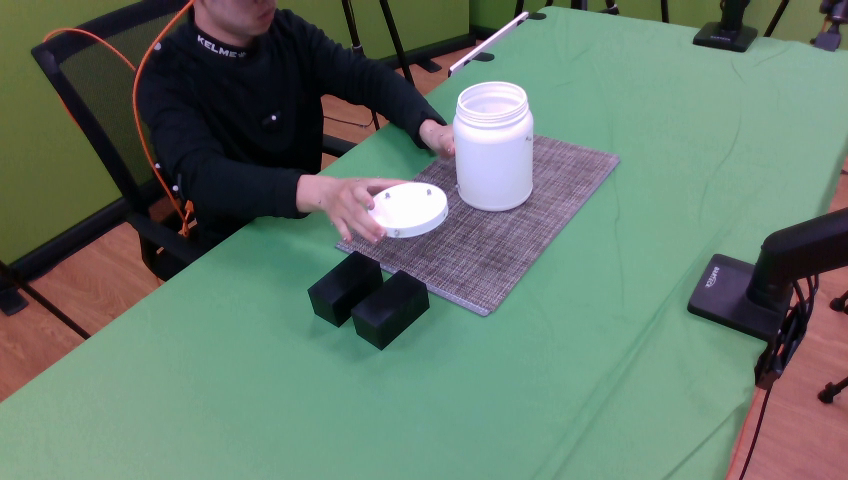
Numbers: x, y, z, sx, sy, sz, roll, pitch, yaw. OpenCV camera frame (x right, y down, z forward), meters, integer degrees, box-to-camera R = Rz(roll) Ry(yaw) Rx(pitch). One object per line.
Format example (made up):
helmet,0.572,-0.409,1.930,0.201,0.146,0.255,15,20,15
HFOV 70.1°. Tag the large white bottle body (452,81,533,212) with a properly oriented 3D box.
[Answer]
large white bottle body,0.115,-0.154,1.001,0.130,0.185,0.130,-5,41,4

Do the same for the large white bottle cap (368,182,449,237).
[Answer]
large white bottle cap,-0.022,-0.045,0.852,0.115,0.018,0.114,-6,37,5
